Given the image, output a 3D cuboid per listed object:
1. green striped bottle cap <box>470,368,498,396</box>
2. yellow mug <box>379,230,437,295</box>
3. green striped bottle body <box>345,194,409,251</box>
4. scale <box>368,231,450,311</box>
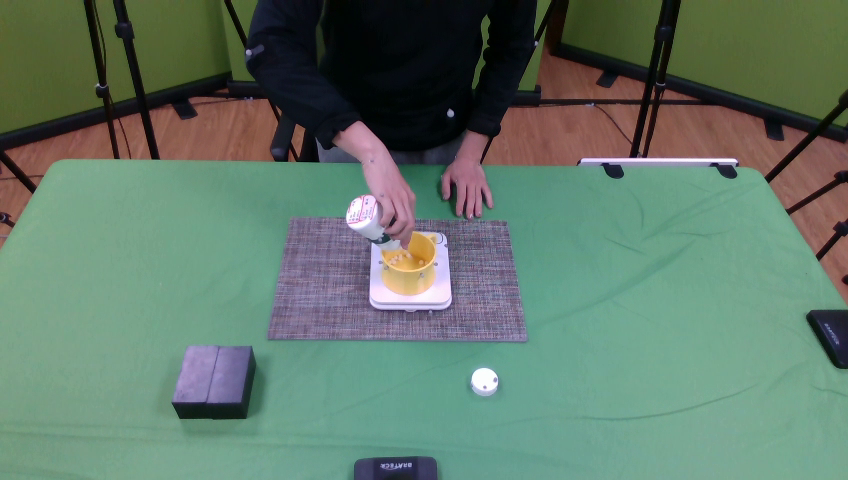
[{"bbox_3d":[0.098,0.231,0.989,0.044,0.020,0.044,2,43,-2],"label":"green striped bottle cap"},{"bbox_3d":[-0.020,0.030,1.089,0.099,0.064,0.130,31,52,24],"label":"yellow mug"},{"bbox_3d":[-0.073,-0.023,1.014,0.063,0.120,0.063,-15,59,27],"label":"green striped bottle body"},{"bbox_3d":[-0.029,0.048,1.137,0.149,0.032,0.199,1,46,-4],"label":"scale"}]
